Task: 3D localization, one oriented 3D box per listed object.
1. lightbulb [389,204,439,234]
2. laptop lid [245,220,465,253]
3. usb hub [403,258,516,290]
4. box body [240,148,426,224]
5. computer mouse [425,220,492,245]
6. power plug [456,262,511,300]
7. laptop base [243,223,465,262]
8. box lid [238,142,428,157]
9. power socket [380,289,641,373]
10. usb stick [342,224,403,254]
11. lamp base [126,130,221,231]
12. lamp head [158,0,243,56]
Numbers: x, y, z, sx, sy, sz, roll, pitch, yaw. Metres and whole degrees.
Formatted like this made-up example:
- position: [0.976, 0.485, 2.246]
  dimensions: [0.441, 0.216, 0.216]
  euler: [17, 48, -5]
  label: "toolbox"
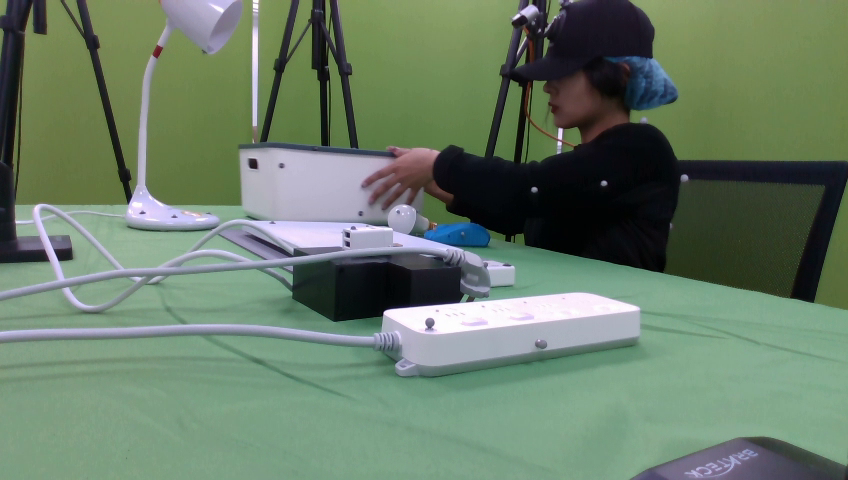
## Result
- position: [-0.017, -0.034, 1.161]
  dimensions: [0.108, 0.059, 0.059]
  euler: [16, 1, -26]
  label: "lightbulb"
- position: [-0.124, -0.009, 0.945]
  dimensions: [0.243, 0.013, 0.355]
  euler: [1, 7, -29]
  label: "laptop lid"
- position: [0.042, 0.038, 0.690]
  dimensions: [0.126, 0.025, 0.049]
  euler: [-2, 9, -30]
  label: "usb hub"
- position: [-0.205, -0.124, 1.357]
  dimensions: [0.366, 0.160, 0.253]
  euler: [-2, 8, -32]
  label: "box body"
- position: [0.060, -0.013, 1.060]
  dimensions: [0.117, 0.041, 0.062]
  euler: [-2, 10, -6]
  label: "computer mouse"
- position: [0.052, 0.051, 0.543]
  dimensions: [0.035, 0.052, 0.072]
  euler: [6, 37, -20]
  label: "power plug"
- position: [-0.127, 0.003, 0.946]
  dimensions: [0.237, 0.023, 0.352]
  euler: [2, 6, -31]
  label: "laptop base"
- position: [-0.205, -0.198, 1.347]
  dimensions: [0.373, 0.015, 0.262]
  euler: [-2, 7, -32]
  label: "box lid"
- position: [0.072, 0.064, 0.461]
  dimensions: [0.228, 0.032, 0.072]
  euler: [-2, 8, -30]
  label: "power socket"
- position: [-0.047, -0.001, 0.567]
  dimensions: [0.059, 0.027, 0.021]
  euler: [0, 5, -32]
  label: "usb stick"
- position: [-0.469, -0.112, 1.109]
  dimensions: [0.179, 0.180, 0.160]
  euler: [0, 7, 3]
  label: "lamp base"
- position: [-0.399, -0.397, 1.057]
  dimensions: [0.123, 0.112, 0.112]
  euler: [27, 5, -7]
  label: "lamp head"
